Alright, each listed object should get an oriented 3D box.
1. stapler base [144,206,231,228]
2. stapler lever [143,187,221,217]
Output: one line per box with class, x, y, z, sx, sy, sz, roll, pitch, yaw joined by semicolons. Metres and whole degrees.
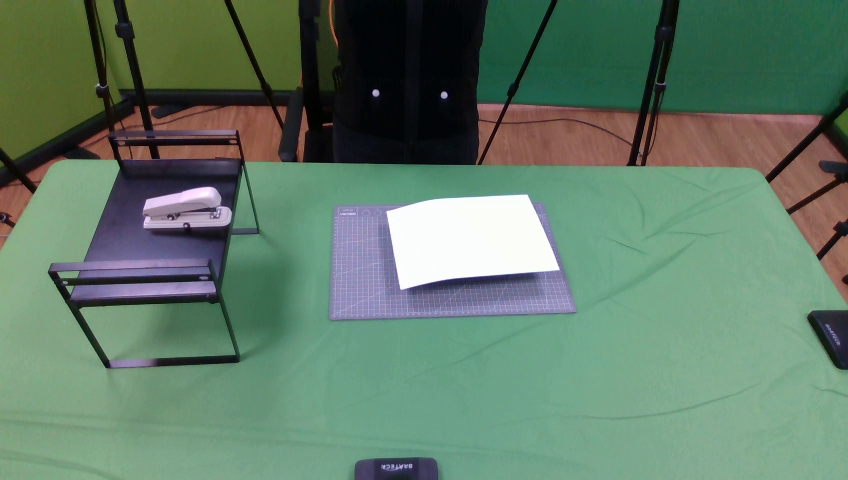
stapler base;-0.376;-0.042;0.960;0.131;0.024;0.041;-3;44;-5
stapler lever;-0.376;-0.059;0.941;0.118;0.040;0.026;-4;44;-5
